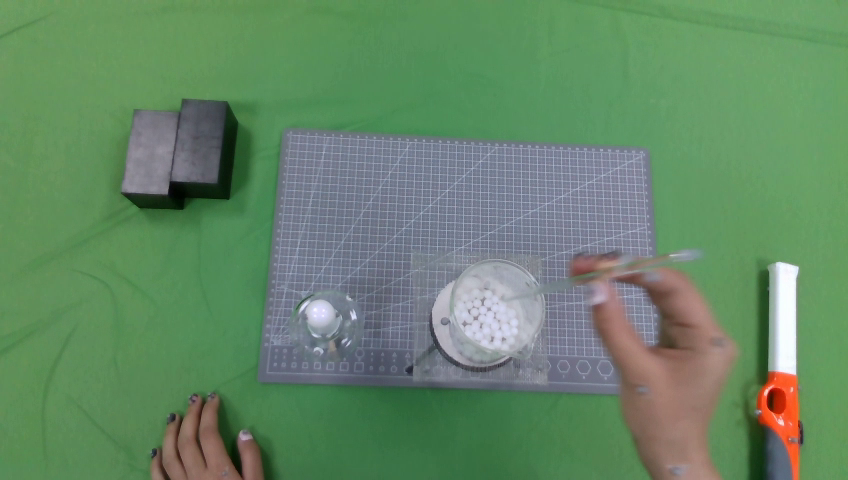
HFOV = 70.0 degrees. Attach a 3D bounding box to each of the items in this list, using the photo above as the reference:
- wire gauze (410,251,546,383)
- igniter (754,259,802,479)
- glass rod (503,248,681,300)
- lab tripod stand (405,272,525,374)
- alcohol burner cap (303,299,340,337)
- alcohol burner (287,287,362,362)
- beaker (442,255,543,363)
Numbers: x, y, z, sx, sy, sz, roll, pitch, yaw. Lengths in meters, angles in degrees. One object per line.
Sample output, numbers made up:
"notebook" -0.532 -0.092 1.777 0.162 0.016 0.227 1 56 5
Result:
"wire gauze" 0.048 0.068 0.554 0.125 0.011 0.120 1 73 -1
"igniter" 0.398 0.157 0.680 0.057 0.025 0.275 13 74 -11
"glass rod" 0.093 0.026 0.384 0.008 0.199 0.008 3 78 -16
"lab tripod stand" 0.044 0.089 0.617 0.148 0.132 0.147 1 73 -2
"alcohol burner cap" -0.101 0.074 0.584 0.034 0.048 0.033 1 70 -2
"alcohol burner" -0.103 0.083 0.619 0.078 0.119 0.077 1 72 -4
"beaker" 0.054 0.065 0.505 0.074 0.101 0.083 -29 77 -11
